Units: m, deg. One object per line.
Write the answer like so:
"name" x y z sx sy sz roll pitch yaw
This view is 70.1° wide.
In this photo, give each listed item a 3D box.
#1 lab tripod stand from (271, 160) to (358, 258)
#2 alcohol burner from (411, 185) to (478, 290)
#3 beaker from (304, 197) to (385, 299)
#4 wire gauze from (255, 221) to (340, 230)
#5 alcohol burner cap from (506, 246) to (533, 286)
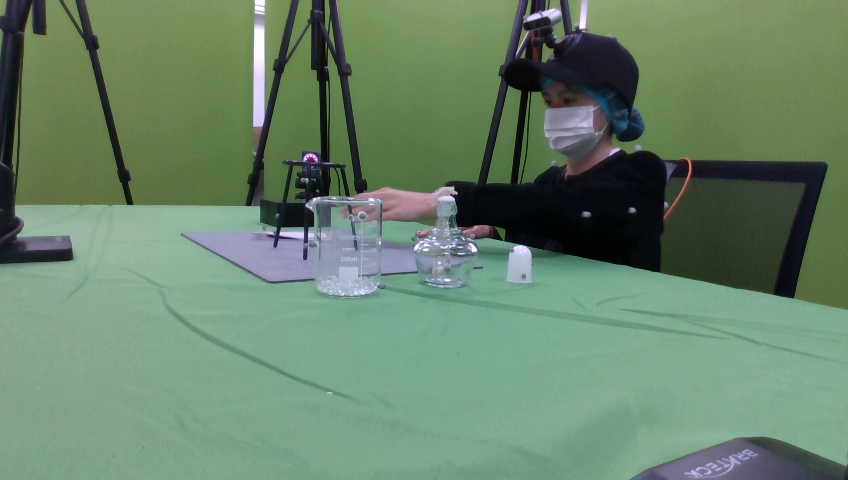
"lab tripod stand" -0.159 -0.048 0.876 0.148 0.131 0.148 3 5 0
"alcohol burner" 0.024 -0.004 0.697 0.078 0.119 0.078 0 7 0
"beaker" -0.083 0.007 0.629 0.084 0.100 0.073 -1 7 -21
"wire gauze" -0.224 -0.026 1.057 0.122 0.011 0.124 -3 3 -26
"alcohol burner cap" 0.118 0.032 0.739 0.034 0.048 0.034 1 7 0
